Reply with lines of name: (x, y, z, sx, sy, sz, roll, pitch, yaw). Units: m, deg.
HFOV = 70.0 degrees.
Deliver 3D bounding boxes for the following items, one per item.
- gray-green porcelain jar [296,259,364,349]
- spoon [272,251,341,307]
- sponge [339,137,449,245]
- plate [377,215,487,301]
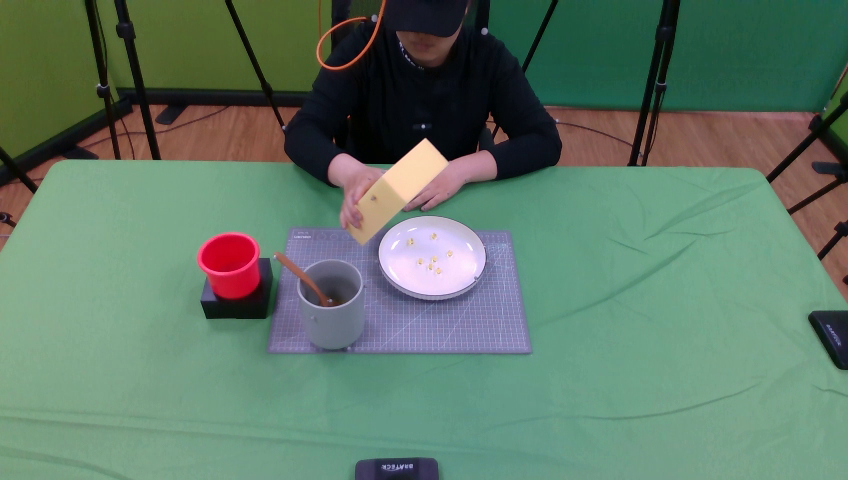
gray-green porcelain jar: (-0.152, 0.111, 1.003, 0.106, 0.127, 0.105, 2, 46, -2)
spoon: (-0.180, 0.078, 0.982, 0.021, 0.195, 0.041, -8, 46, 28)
sponge: (-0.056, -0.080, 1.051, 0.061, 0.207, 0.118, 47, 57, -4)
plate: (0.015, 0.037, 1.147, 0.208, 0.039, 0.206, 2, 46, -2)
